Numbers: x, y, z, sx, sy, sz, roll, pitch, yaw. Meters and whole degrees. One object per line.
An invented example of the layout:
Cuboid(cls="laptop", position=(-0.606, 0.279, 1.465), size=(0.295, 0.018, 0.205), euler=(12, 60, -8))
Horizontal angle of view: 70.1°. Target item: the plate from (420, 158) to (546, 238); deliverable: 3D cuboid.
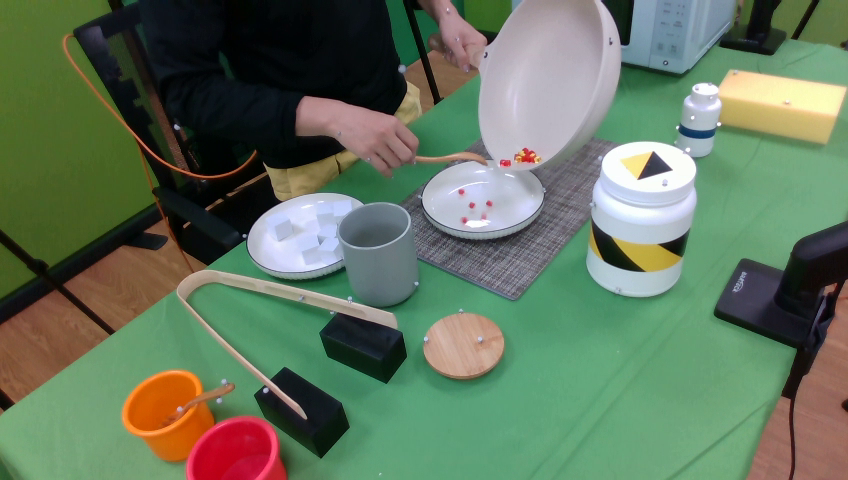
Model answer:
Cuboid(cls="plate", position=(0.099, -0.067, 1.017), size=(0.209, 0.038, 0.208), euler=(-4, 40, 4))

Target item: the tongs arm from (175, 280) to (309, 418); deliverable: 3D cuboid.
Cuboid(cls="tongs arm", position=(-0.255, 0.133, 0.800), size=(0.028, 0.028, 0.384), euler=(-41, 40, -23))

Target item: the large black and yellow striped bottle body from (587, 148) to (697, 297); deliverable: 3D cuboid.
Cuboid(cls="large black and yellow striped bottle body", position=(0.298, -0.026, 0.834), size=(0.131, 0.185, 0.130), euler=(-4, 41, 4))

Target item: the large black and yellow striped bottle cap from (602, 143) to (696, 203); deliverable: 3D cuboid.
Cuboid(cls="large black and yellow striped bottle cap", position=(0.289, -0.088, 0.778), size=(0.115, 0.019, 0.114), euler=(-5, 39, 4))

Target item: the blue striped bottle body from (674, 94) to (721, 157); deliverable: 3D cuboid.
Cuboid(cls="blue striped bottle body", position=(0.486, -0.213, 1.072), size=(0.063, 0.121, 0.063), euler=(-4, 41, 4))

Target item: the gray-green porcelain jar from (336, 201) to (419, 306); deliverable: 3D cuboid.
Cuboid(cls="gray-green porcelain jar", position=(-0.064, 0.024, 0.872), size=(0.106, 0.127, 0.105), euler=(-4, 41, 4))

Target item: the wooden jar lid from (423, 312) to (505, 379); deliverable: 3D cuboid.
Cuboid(cls="wooden jar lid", position=(0.053, 0.142, 0.800), size=(0.108, 0.021, 0.108), euler=(-5, 39, 4))

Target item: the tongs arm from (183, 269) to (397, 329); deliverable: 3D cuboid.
Cuboid(cls="tongs arm", position=(-0.203, 0.085, 0.847), size=(0.382, 0.027, 0.051), euler=(11, 44, 35))

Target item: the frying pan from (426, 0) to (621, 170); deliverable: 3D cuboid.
Cuboid(cls="frying pan", position=(0.139, -0.297, 1.022), size=(0.103, 0.306, 0.483), euler=(4, 25, -39))

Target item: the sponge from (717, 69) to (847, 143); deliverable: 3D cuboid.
Cuboid(cls="sponge", position=(0.663, -0.256, 1.142), size=(0.205, 0.061, 0.118), euler=(19, 47, 28))

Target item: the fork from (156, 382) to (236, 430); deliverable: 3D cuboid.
Cuboid(cls="fork", position=(-0.262, 0.189, 0.690), size=(0.018, 0.206, 0.028), euler=(49, 43, -6))

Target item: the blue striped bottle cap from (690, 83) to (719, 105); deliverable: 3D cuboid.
Cuboid(cls="blue striped bottle cap", position=(0.482, -0.251, 1.038), size=(0.044, 0.021, 0.044), euler=(-5, 40, 5))

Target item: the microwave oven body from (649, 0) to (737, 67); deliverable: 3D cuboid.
Cuboid(cls="microwave oven body", position=(0.475, -0.602, 1.411), size=(0.438, 0.261, 0.327), euler=(23, 50, 32))

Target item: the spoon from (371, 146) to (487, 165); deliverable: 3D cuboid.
Cuboid(cls="spoon", position=(0.012, -0.131, 0.942), size=(0.195, 0.021, 0.041), euler=(-1, 19, -22))

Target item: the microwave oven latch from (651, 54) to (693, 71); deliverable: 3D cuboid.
Cuboid(cls="microwave oven latch", position=(0.532, -0.386, 1.301), size=(0.078, 0.029, 0.030), euler=(26, 52, 34))

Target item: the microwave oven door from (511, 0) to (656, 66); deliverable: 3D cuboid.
Cuboid(cls="microwave oven door", position=(0.351, -0.539, 1.349), size=(0.353, 0.245, 0.039), euler=(24, 50, 31))

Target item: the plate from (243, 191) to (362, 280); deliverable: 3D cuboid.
Cuboid(cls="plate", position=(-0.188, -0.005, 0.992), size=(0.207, 0.039, 0.206), euler=(-4, 40, 4))
